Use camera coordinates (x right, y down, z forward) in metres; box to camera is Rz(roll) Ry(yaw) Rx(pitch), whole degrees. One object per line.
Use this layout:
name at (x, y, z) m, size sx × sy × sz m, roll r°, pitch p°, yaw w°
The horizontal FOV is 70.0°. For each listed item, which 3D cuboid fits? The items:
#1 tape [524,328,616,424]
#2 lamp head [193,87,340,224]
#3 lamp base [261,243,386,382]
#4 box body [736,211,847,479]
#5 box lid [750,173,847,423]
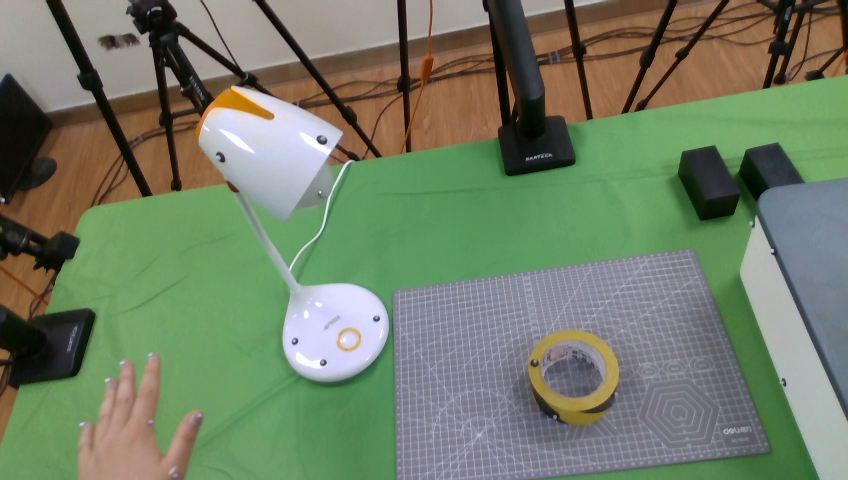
tape at (0.188, 0.173, 0.779) m, size 0.117 × 0.053 × 0.115 m, roll -5°, pitch 53°, yaw 8°
lamp head at (-0.162, -0.090, 0.599) m, size 0.123 × 0.112 × 0.112 m, roll 30°, pitch 60°, yaw -8°
lamp base at (-0.159, 0.086, 0.842) m, size 0.177 × 0.182 × 0.160 m, roll 25°, pitch 63°, yaw 30°
box body at (0.540, 0.110, 0.681) m, size 0.254 × 0.162 × 0.360 m, roll -8°, pitch 53°, yaw 7°
box lid at (0.527, 0.065, 0.624) m, size 0.263 × 0.015 × 0.367 m, roll -8°, pitch 53°, yaw 7°
